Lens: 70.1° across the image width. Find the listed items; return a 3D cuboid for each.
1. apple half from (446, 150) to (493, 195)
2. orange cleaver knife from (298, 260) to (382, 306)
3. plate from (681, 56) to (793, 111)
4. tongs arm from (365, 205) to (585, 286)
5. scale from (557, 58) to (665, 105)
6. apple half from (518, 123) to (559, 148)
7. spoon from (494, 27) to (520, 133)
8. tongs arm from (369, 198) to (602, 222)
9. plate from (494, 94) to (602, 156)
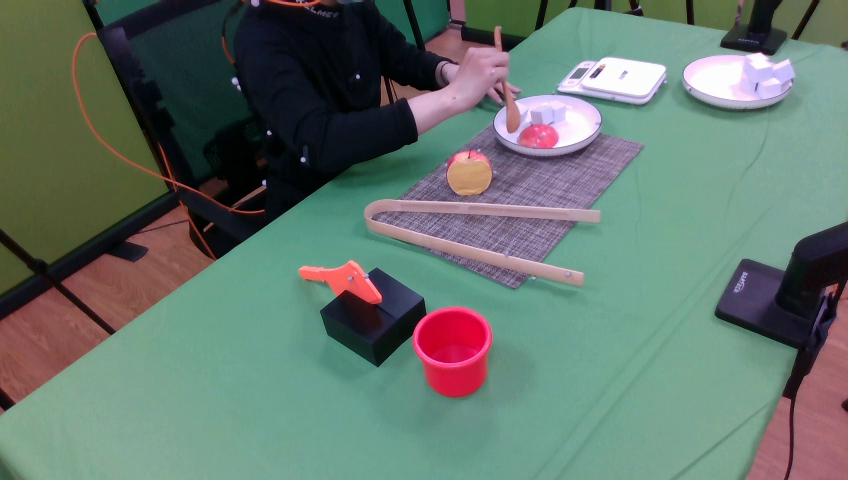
[{"bbox_3d":[0.080,-0.123,1.065,0.081,0.075,0.053,-7,36,6],"label":"apple half"},{"bbox_3d":[-0.125,0.063,0.876,0.012,0.077,0.210,-38,19,-30],"label":"orange cleaver knife"},{"bbox_3d":[0.636,-0.317,1.239,0.207,0.039,0.206,-4,40,4],"label":"plate"},{"bbox_3d":[0.067,0.004,0.951,0.382,0.026,0.051,13,45,23],"label":"tongs arm"},{"bbox_3d":[0.407,-0.348,1.314,0.199,0.032,0.149,19,47,28],"label":"scale"},{"bbox_3d":[0.221,-0.207,1.160,0.081,0.033,0.081,-6,43,6],"label":"apple half"},{"bbox_3d":[0.150,-0.296,1.123,0.042,0.194,0.021,-25,16,-37],"label":"spoon"},{"bbox_3d":[0.097,-0.048,1.009,0.386,0.028,0.028,3,46,13],"label":"tongs arm"},{"bbox_3d":[0.240,-0.221,1.181,0.209,0.038,0.208,-4,41,4],"label":"plate"}]
